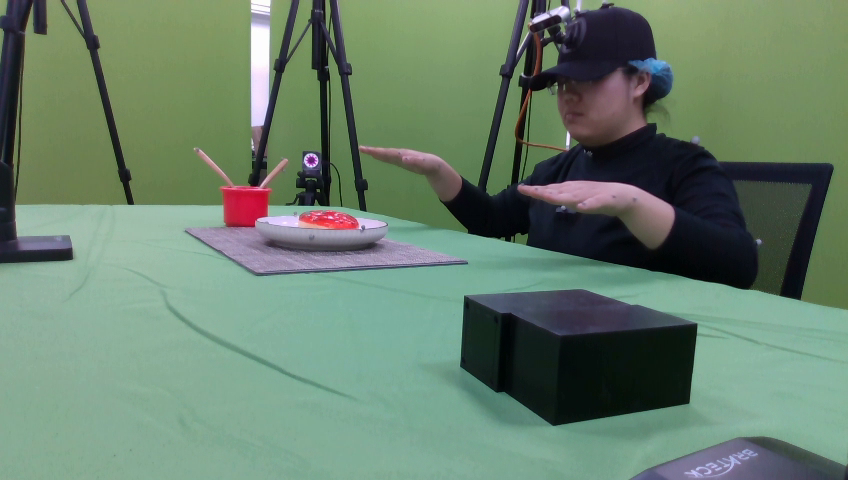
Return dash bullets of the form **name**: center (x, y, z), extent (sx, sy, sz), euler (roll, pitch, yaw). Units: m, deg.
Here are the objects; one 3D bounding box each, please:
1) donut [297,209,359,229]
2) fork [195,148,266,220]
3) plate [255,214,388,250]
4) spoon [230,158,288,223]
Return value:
- **donut**: center (-0.151, -0.023, 0.955), extent (0.099, 0.048, 0.099), euler (6, 7, 0)
- **fork**: center (-0.386, -0.110, 1.199), extent (0.028, 0.207, 0.018), euler (-38, -6, -39)
- **plate**: center (-0.161, -0.013, 0.961), extent (0.209, 0.038, 0.209), euler (2, 7, 0)
- **spoon**: center (-0.322, -0.101, 1.206), extent (0.041, 0.022, 0.194), euler (13, 55, 22)
